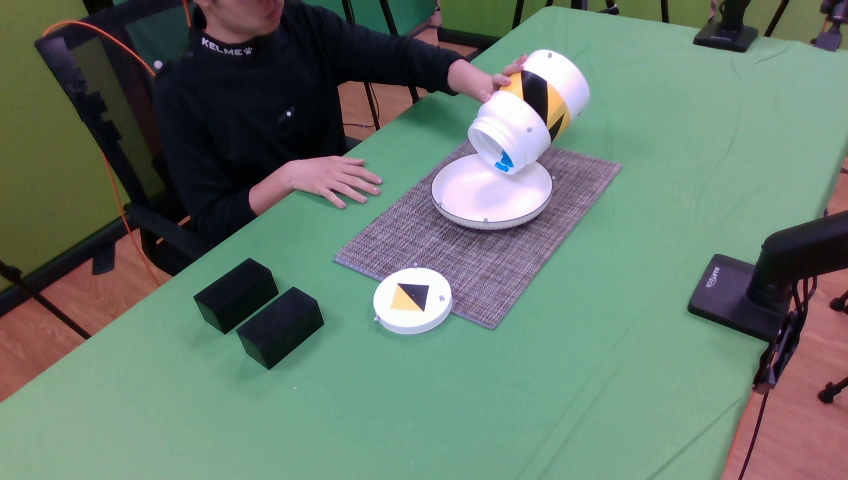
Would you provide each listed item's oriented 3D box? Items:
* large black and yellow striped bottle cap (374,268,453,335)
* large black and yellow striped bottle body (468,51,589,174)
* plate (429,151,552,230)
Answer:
[{"bbox_3d":[-0.015,0.087,0.871,0.115,0.019,0.114,-6,43,6],"label":"large black and yellow striped bottle cap"},{"bbox_3d":[0.174,-0.212,1.024,0.184,0.132,0.129,-47,51,-9],"label":"large black and yellow striped bottle body"},{"bbox_3d":[0.113,-0.082,1.032,0.207,0.039,0.206,-4,41,4],"label":"plate"}]
